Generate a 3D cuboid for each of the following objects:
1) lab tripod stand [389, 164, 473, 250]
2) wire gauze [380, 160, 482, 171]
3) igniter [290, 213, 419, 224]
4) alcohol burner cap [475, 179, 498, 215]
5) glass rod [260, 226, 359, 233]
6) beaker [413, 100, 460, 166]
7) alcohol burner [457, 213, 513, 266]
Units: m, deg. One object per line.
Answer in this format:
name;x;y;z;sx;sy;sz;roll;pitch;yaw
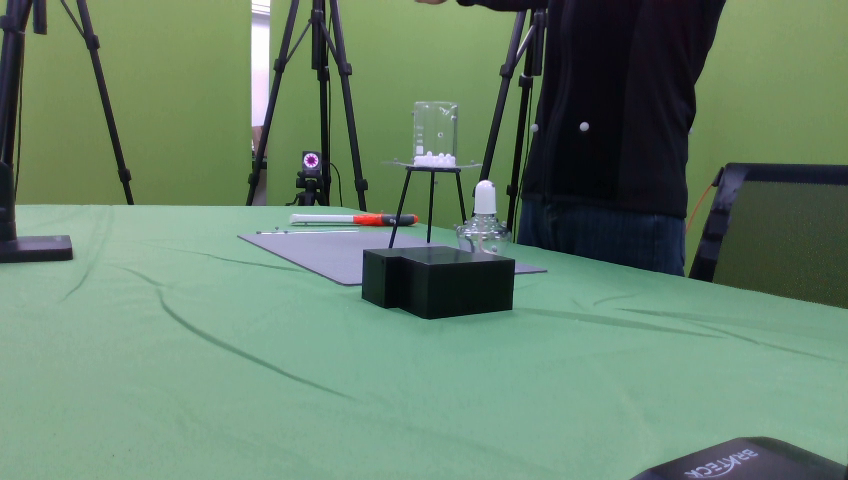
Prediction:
lab tripod stand;0.011;-0.054;0.960;0.148;0.131;0.148;2;9;0
wire gauze;0.011;-0.119;0.951;0.122;0.011;0.124;-5;12;-32
igniter;-0.143;-0.046;1.288;0.278;0.025;0.057;-1;-3;-24
alcohol burner cap;0.086;-0.061;0.833;0.034;0.048;0.034;-1;11;0
glass rod;-0.211;-0.020;1.137;0.201;0.008;0.008;-3;9;-35
beaker;0.020;-0.167;0.953;0.073;0.100;0.084;6;9;26
alcohol burner;0.084;-0.025;0.837;0.078;0.119;0.078;0;8;0
